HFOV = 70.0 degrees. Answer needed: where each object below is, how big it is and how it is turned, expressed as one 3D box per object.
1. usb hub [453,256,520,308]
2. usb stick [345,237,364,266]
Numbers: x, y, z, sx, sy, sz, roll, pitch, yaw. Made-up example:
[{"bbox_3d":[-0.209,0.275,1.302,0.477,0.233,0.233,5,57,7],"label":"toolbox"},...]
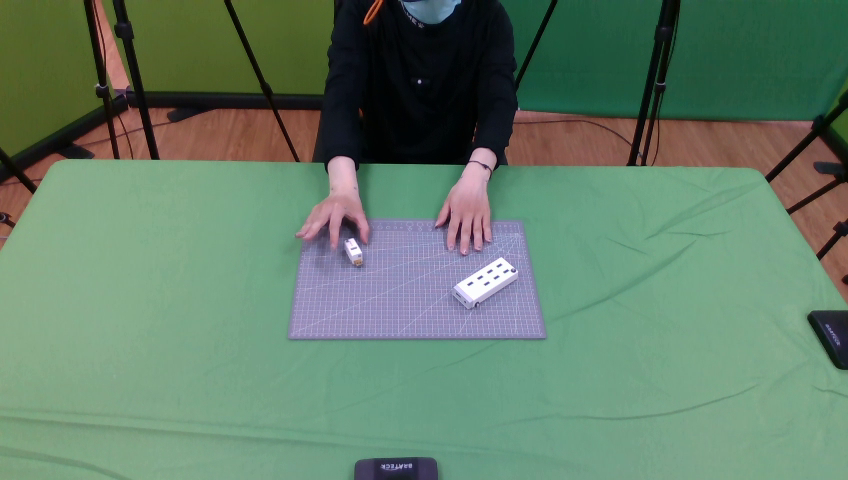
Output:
[{"bbox_3d":[0.117,0.077,1.121,0.125,0.025,0.049,-29,55,-27],"label":"usb hub"},{"bbox_3d":[-0.131,0.023,1.154,0.021,0.027,0.059,-17,54,-19],"label":"usb stick"}]
